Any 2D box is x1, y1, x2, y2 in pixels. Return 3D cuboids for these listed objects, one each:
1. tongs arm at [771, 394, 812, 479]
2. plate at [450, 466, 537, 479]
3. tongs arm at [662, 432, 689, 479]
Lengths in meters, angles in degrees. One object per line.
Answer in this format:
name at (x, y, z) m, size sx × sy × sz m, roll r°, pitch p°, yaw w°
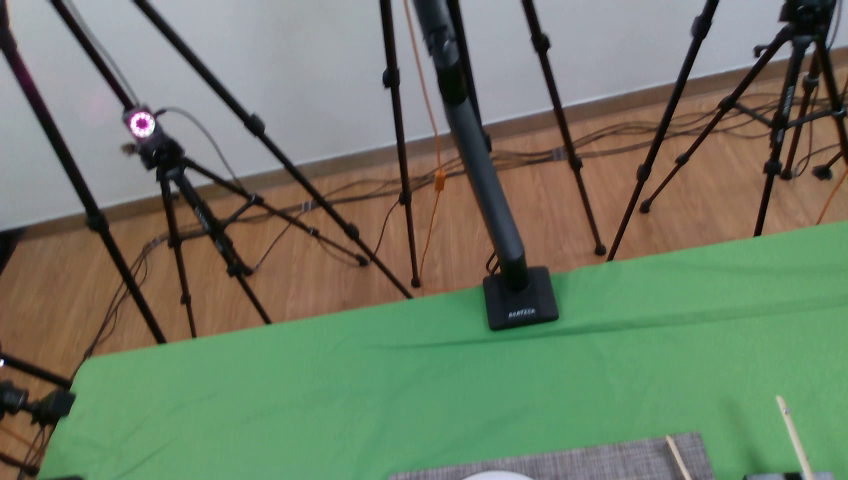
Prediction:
tongs arm at (0.440, 0.361, 0.673) m, size 0.050 × 0.027 × 0.381 m, roll -26°, pitch 48°, yaw 28°
plate at (0.091, 0.403, 0.789) m, size 0.207 × 0.039 × 0.205 m, roll -8°, pitch 48°, yaw 10°
tongs arm at (0.377, 0.400, 0.709) m, size 0.028 × 0.028 × 0.383 m, roll -33°, pitch 44°, yaw 16°
